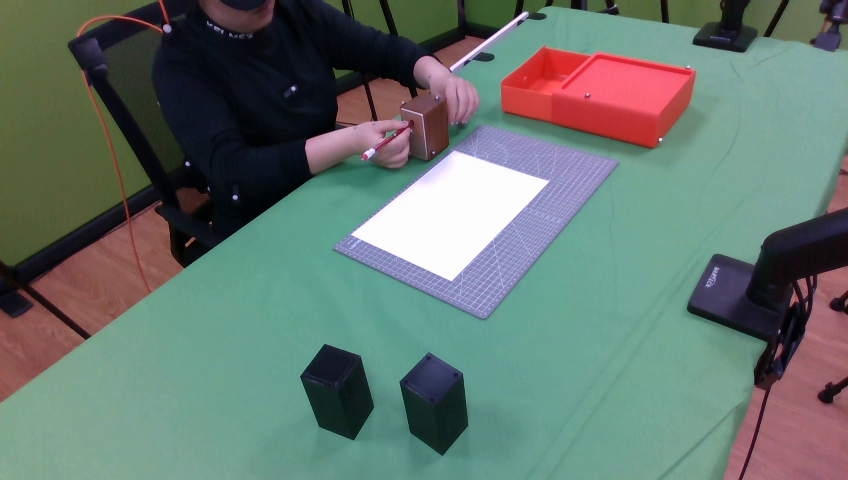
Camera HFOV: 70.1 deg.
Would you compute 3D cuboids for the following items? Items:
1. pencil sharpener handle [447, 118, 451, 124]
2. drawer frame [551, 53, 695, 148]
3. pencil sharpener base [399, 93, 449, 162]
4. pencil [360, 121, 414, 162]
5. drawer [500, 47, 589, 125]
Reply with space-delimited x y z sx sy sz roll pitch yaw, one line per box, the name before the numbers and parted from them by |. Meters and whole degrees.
pencil sharpener handle | 0.034 -0.253 1.179 0.035 0.068 0.031 17 45 36
drawer frame | 0.390 -0.281 1.196 0.212 0.083 0.202 22 48 29
pencil sharpener base | 0.003 -0.216 1.159 0.061 0.107 0.077 22 48 31
pencil | -0.049 -0.191 1.095 0.012 0.012 0.194 23 48 31
drawer | 0.295 -0.316 1.255 0.210 0.073 0.195 22 47 29
